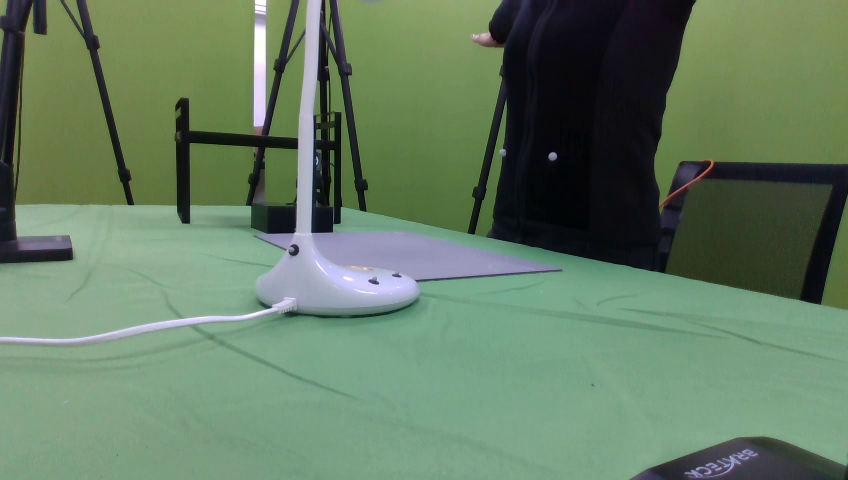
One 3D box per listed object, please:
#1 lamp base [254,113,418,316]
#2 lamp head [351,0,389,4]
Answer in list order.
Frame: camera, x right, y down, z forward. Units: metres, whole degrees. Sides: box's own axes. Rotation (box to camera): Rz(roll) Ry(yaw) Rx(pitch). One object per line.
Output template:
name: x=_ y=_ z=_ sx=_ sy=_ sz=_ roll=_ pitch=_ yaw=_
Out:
lamp base: x=-0.086 y=-0.027 z=0.577 sx=0.160 sy=0.180 sz=0.179 roll=4 pitch=10 yaw=16
lamp head: x=-0.053 y=-0.313 z=0.597 sx=0.112 sy=0.112 sz=0.123 roll=6 pitch=-28 yaw=25
